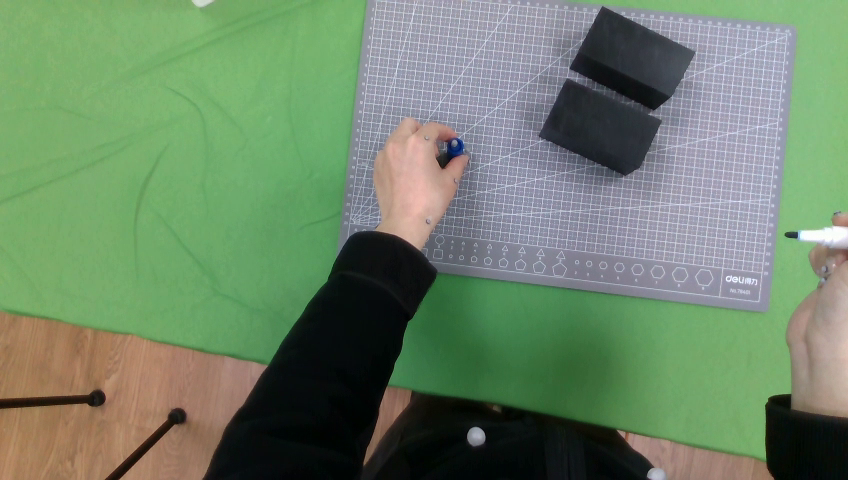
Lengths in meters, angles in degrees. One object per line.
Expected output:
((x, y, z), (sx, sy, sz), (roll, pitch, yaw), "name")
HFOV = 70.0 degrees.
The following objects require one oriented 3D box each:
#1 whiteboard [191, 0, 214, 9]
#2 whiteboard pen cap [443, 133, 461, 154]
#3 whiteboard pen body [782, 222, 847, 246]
((-0.214, -0.410, 0.542), (0.217, 0.308, 0.142), (-29, 67, 2), "whiteboard")
((0.029, -0.099, 0.625), (0.018, 0.033, 0.018), (0, 87, -1), "whiteboard pen cap")
((0.305, -0.001, 0.381), (0.140, 0.017, 0.017), (4, 88, 21), "whiteboard pen body")
